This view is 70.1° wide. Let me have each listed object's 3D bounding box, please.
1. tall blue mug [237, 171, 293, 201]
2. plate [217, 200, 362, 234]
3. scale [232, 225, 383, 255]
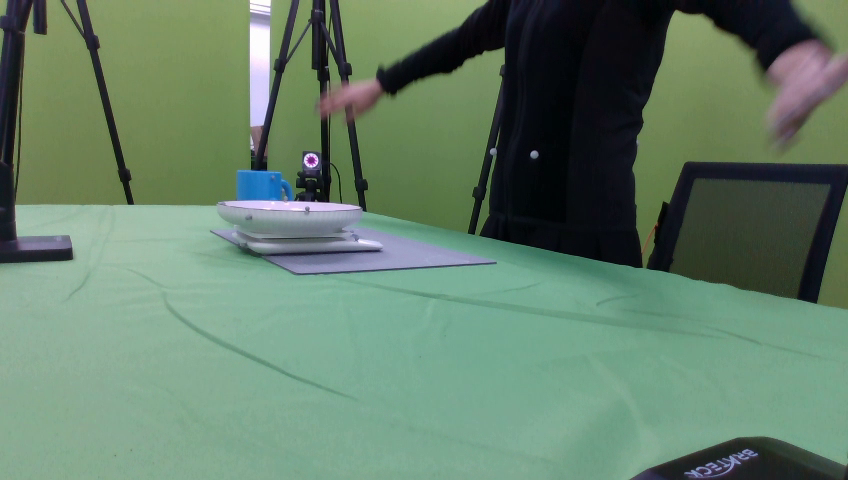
[{"bbox_3d":[-0.291,-0.070,1.091,0.078,0.108,0.107,3,8,7],"label":"tall blue mug"},{"bbox_3d":[-0.196,-0.035,0.894,0.209,0.038,0.209,2,7,0],"label":"plate"},{"bbox_3d":[-0.177,-0.004,0.920,0.202,0.031,0.148,-1,9,-30],"label":"scale"}]
